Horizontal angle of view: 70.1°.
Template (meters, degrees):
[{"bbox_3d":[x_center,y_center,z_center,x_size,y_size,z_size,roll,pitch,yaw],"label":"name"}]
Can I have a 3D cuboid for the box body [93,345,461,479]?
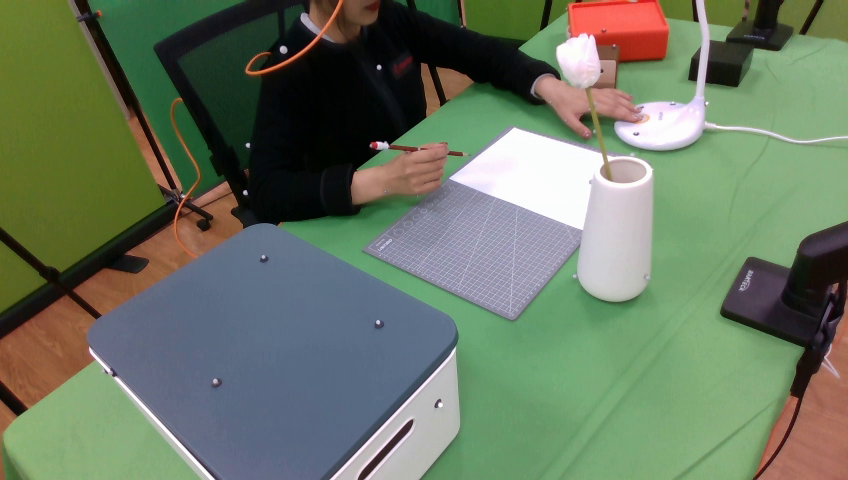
[{"bbox_3d":[-0.162,0.170,0.708,0.361,0.161,0.255,25,50,34],"label":"box body"}]

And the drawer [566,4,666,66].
[{"bbox_3d":[0.447,-0.493,1.441,0.211,0.073,0.194,0,40,10],"label":"drawer"}]

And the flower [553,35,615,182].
[{"bbox_3d":[0.237,-0.083,0.774,0.044,0.363,0.038,-23,26,6],"label":"flower"}]

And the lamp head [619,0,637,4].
[{"bbox_3d":[0.318,-0.453,0.962,0.113,0.123,0.112,20,33,-13],"label":"lamp head"}]

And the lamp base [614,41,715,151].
[{"bbox_3d":[0.449,-0.277,1.106,0.179,0.181,0.160,1,41,9],"label":"lamp base"}]

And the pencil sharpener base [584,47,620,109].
[{"bbox_3d":[0.367,-0.336,1.249,0.061,0.107,0.076,6,42,19],"label":"pencil sharpener base"}]

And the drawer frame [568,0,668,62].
[{"bbox_3d":[0.450,-0.495,1.441,0.213,0.083,0.201,-1,40,9],"label":"drawer frame"}]

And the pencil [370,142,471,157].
[{"bbox_3d":[-0.001,-0.149,1.007,0.195,0.012,0.012,1,32,-32],"label":"pencil"}]

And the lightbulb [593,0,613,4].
[{"bbox_3d":[0.304,-0.437,0.978,0.060,0.107,0.059,12,44,-11],"label":"lightbulb"}]

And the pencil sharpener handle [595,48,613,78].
[{"bbox_3d":[0.382,-0.378,1.276,0.036,0.068,0.030,3,41,21],"label":"pencil sharpener handle"}]

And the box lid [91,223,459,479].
[{"bbox_3d":[-0.174,0.102,0.666,0.368,0.015,0.264,24,48,35],"label":"box lid"}]

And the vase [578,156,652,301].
[{"bbox_3d":[0.261,-0.011,0.812,0.098,0.201,0.097,-4,40,4],"label":"vase"}]
